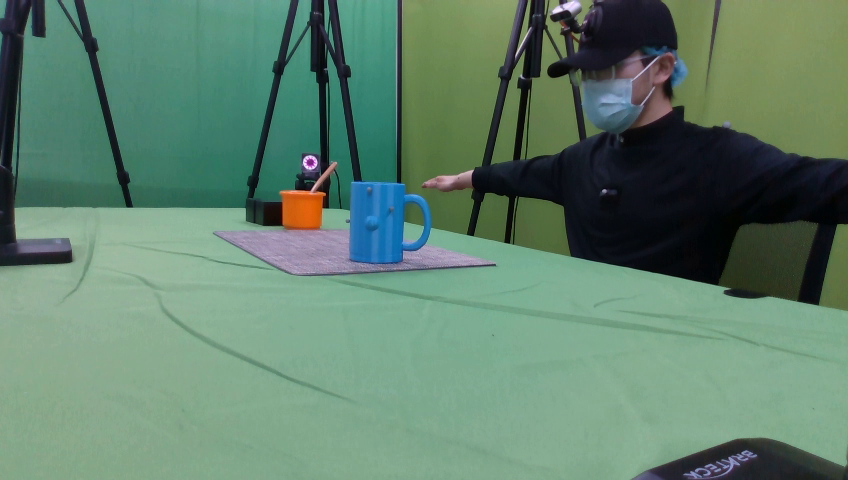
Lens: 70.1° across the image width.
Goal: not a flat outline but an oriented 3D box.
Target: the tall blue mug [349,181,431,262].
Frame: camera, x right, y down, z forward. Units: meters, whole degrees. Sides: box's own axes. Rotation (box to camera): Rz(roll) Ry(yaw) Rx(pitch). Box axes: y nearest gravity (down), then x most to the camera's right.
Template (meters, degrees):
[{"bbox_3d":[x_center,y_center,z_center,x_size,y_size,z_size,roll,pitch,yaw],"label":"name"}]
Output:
[{"bbox_3d":[-0.051,-0.028,0.849,0.108,0.108,0.077,-1,7,-22],"label":"tall blue mug"}]

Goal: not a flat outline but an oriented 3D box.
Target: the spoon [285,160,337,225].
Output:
[{"bbox_3d":[-0.229,-0.101,1.251,0.041,0.194,0.022,3,-38,34],"label":"spoon"}]
